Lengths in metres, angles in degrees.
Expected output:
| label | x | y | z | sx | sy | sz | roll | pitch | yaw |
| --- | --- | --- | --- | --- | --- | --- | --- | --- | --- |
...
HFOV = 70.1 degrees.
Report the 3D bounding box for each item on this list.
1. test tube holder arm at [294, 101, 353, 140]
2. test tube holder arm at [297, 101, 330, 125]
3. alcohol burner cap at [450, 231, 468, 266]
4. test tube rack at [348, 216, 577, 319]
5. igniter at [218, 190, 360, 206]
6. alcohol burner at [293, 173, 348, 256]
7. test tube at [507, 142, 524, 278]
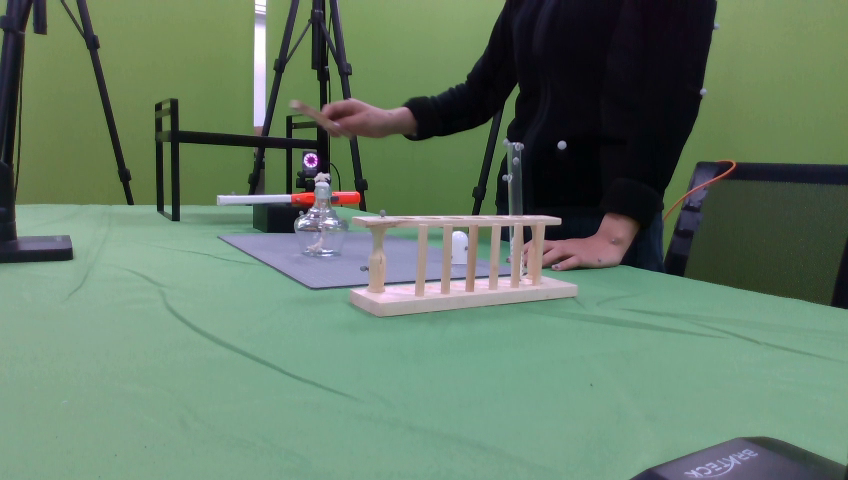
| label | x | y | z | sx | sy | sz | roll | pitch | yaw |
| --- | --- | --- | --- | --- | --- | --- | --- | --- | --- |
| test tube holder arm | -0.179 | -0.216 | 1.103 | 0.013 | 0.015 | 0.179 | 14 | -3 | 24 |
| test tube holder arm | -0.192 | -0.222 | 1.060 | 0.010 | 0.015 | 0.088 | 14 | -3 | 24 |
| alcohol burner cap | 0.046 | 0.012 | 0.839 | 0.034 | 0.048 | 0.034 | 3 | 6 | 0 |
| test tube rack | 0.048 | 0.021 | 0.619 | 0.244 | 0.085 | 0.066 | -2 | 8 | -31 |
| igniter | -0.247 | -0.080 | 1.150 | 0.278 | 0.025 | 0.057 | -5 | 7 | -29 |
| alcohol burner | -0.146 | -0.036 | 0.859 | 0.078 | 0.119 | 0.078 | 4 | 8 | 0 |
| test tube | 0.101 | -0.032 | 0.666 | 0.017 | 0.150 | 0.017 | -2 | 6 | 1 |
